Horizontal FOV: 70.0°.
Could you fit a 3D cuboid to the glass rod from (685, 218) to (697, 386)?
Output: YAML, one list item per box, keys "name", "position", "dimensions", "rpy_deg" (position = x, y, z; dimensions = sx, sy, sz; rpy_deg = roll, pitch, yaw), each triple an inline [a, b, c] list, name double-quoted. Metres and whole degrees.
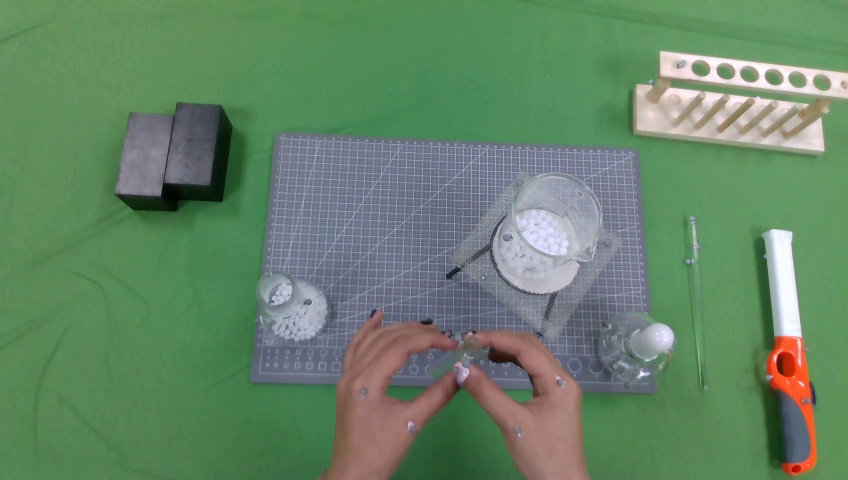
- name: "glass rod"
  position: [0.314, 0.070, 0.712]
  dimensions: [0.008, 0.008, 0.198]
  rpy_deg: [4, 77, -3]

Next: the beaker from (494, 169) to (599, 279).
- name: "beaker"
  position: [0.104, -0.007, 0.534]
  dimensions: [0.074, 0.100, 0.083]
  rpy_deg: [-36, 79, -11]

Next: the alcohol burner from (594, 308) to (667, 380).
- name: "alcohol burner"
  position: [0.223, 0.107, 0.638]
  dimensions: [0.078, 0.119, 0.077]
  rpy_deg: [0, 73, 0]

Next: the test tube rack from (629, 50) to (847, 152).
- name: "test tube rack"
  position: [0.387, -0.168, 0.744]
  dimensions: [0.242, 0.085, 0.066]
  rpy_deg: [6, 73, -2]

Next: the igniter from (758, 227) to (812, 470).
- name: "igniter"
  position: [0.412, 0.118, 0.695]
  dimensions: [0.057, 0.025, 0.275]
  rpy_deg: [8, 74, -13]

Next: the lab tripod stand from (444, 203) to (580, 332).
- name: "lab tripod stand"
  position: [0.099, 0.026, 0.643]
  dimensions: [0.148, 0.132, 0.147]
  rpy_deg: [1, 75, -2]

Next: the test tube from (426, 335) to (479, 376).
- name: "test tube"
  position: [0.021, 0.099, 0.505]
  dimensions: [0.017, 0.151, 0.017]
  rpy_deg: [3, 71, -9]

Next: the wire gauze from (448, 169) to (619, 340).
- name: "wire gauze"
  position: [0.105, 0.010, 0.579]
  dimensions: [0.125, 0.011, 0.121]
  rpy_deg: [39, 78, 6]

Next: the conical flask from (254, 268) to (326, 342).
- name: "conical flask"
  position: [-0.143, 0.061, 0.623]
  dimensions: [0.075, 0.122, 0.075]
  rpy_deg: [1, 74, -3]

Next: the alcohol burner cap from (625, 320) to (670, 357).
- name: "alcohol burner cap"
  position: [0.225, 0.095, 0.604]
  dimensions: [0.034, 0.048, 0.033]
  rpy_deg: [3, 67, -6]
